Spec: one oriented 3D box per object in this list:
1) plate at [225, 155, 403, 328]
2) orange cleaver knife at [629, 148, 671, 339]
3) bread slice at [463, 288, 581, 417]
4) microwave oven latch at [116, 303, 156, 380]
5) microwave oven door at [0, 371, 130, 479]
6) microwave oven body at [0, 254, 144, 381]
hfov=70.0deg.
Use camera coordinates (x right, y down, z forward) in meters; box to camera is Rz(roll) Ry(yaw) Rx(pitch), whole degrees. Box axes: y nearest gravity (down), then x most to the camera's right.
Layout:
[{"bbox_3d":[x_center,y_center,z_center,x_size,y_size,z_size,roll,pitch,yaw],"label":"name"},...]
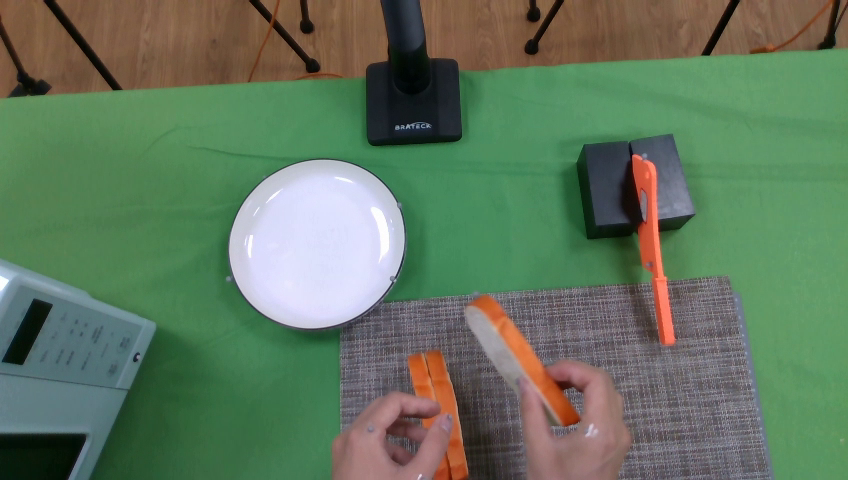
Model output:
[{"bbox_3d":[-0.125,0.002,0.712,0.207,0.039,0.206,-1,74,2],"label":"plate"},{"bbox_3d":[0.247,0.001,0.670,0.012,0.077,0.211,-8,94,3],"label":"orange cleaver knife"},{"bbox_3d":[0.082,0.104,0.550,0.018,0.107,0.134,-33,83,-13],"label":"bread slice"},{"bbox_3d":[-0.328,0.113,0.671,0.030,0.029,0.079,19,76,8],"label":"microwave oven latch"},{"bbox_3d":[-0.404,0.283,0.520,0.039,0.245,0.354,17,75,9],"label":"microwave oven door"},{"bbox_3d":[-0.530,0.204,0.554,0.325,0.261,0.440,17,76,7],"label":"microwave oven body"}]
